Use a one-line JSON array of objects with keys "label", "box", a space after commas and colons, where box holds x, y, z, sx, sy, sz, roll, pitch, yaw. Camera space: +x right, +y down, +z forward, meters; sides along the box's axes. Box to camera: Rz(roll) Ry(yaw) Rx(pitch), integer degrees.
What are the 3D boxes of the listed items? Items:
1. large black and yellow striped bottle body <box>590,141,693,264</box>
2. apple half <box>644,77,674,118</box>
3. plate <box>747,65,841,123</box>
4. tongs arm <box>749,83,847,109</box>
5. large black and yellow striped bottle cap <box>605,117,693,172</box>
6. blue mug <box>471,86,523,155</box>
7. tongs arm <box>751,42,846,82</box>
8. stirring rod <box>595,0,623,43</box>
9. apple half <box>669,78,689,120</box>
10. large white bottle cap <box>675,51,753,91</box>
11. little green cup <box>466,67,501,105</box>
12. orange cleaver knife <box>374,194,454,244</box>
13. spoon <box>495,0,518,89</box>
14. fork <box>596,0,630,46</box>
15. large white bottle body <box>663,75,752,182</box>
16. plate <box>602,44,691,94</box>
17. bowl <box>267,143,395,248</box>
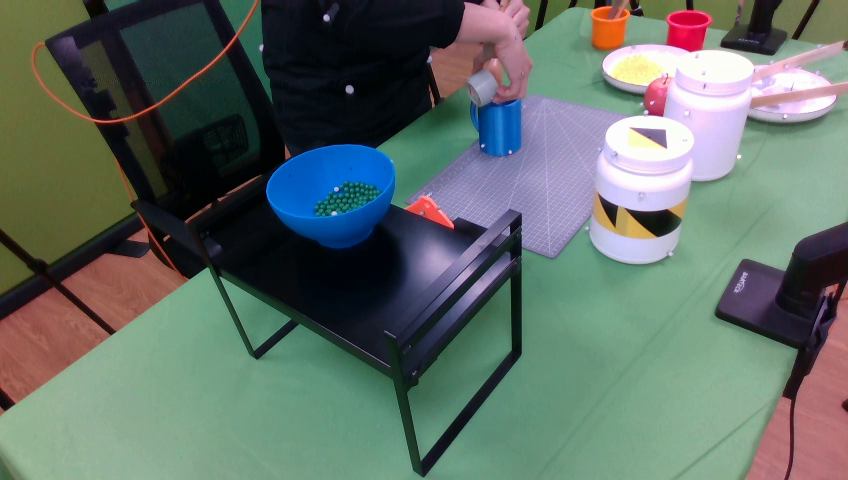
[{"label": "large black and yellow striped bottle body", "box": [0.317, -0.071, 0.889, 0.131, 0.185, 0.130, -4, 41, 4]}, {"label": "apple half", "box": [0.463, -0.279, 1.194, 0.053, 0.075, 0.081, 8, 46, 24]}, {"label": "plate", "box": [0.694, -0.282, 1.189, 0.207, 0.039, 0.206, -4, 40, 4]}, {"label": "tongs arm", "box": [0.734, -0.280, 1.133, 0.388, 0.028, 0.028, -9, 47, -5]}, {"label": "large black and yellow striped bottle cap", "box": [0.309, -0.134, 0.833, 0.115, 0.019, 0.114, -5, 40, 5]}, {"label": "blue mug", "box": [0.135, -0.235, 1.163, 0.082, 0.106, 0.115, -36, 48, -29]}, {"label": "tongs arm", "box": [0.708, -0.331, 1.193, 0.386, 0.026, 0.050, -18, 45, -16]}, {"label": "stirring rod", "box": [0.460, -0.556, 1.460, 0.014, 0.006, 0.176, 30, 93, 23]}, {"label": "apple half", "box": [0.498, -0.273, 1.180, 0.032, 0.082, 0.081, 7, 42, 25]}, {"label": "large white bottle cap", "box": [0.463, -0.271, 0.967, 0.115, 0.018, 0.114, -4, 40, 4]}, {"label": "little green cup", "box": [0.105, -0.273, 1.081, 0.038, 0.062, 0.061, -35, 44, -2]}, {"label": "orange cleaver knife", "box": [-0.032, -0.026, 0.964, 0.210, 0.077, 0.012, -9, 29, 51]}, {"label": "spoon", "box": [0.147, -0.363, 1.094, 0.042, 0.021, 0.193, 3, 71, -9]}, {"label": "fork", "box": [0.481, -0.556, 1.452, 0.028, 0.019, 0.207, 40, 103, 40]}, {"label": "large white bottle body", "box": [0.472, -0.207, 1.022, 0.130, 0.185, 0.130, -4, 41, 4]}, {"label": "plate", "box": [0.495, -0.367, 1.317, 0.209, 0.038, 0.208, -4, 40, 4]}, {"label": "bowl", "box": [-0.104, -0.043, 0.726, 0.151, 0.077, 0.150, -4, 41, 4]}]
